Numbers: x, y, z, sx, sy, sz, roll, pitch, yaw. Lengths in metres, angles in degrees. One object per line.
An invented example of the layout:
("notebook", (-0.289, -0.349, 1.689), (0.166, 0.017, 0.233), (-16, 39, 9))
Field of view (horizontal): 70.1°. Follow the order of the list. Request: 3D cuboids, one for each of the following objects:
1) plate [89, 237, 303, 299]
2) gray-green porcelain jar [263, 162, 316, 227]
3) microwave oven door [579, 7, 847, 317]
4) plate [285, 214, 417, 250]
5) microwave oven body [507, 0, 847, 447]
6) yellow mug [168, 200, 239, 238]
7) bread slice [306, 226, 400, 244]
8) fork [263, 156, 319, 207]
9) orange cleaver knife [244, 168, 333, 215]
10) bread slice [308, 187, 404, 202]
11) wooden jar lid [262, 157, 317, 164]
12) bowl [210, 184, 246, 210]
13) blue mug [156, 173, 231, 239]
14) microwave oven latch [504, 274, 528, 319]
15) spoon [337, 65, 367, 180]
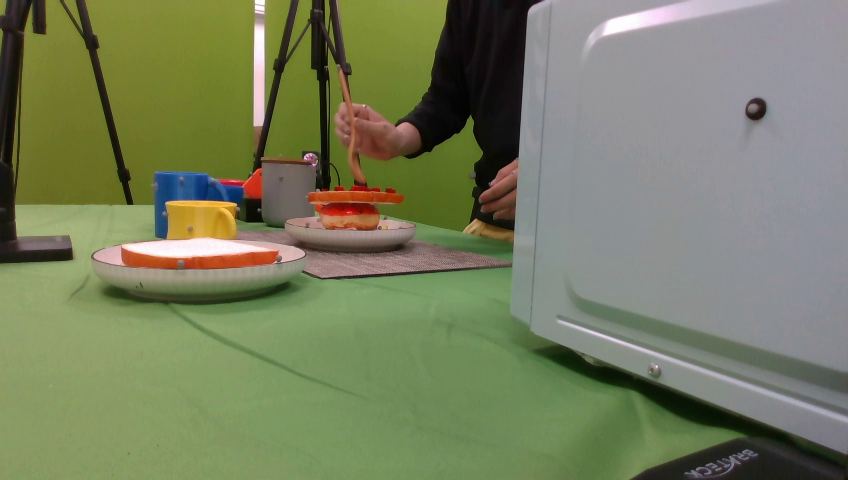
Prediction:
("plate", (-0.233, 0.029, 0.637), (0.208, 0.039, 0.207), (2, 7, 0))
("gray-green porcelain jar", (-0.271, -0.092, 1.217), (0.106, 0.126, 0.106), (2, 7, 0))
("microwave oven door", (0.295, -0.067, 0.570), (0.358, 0.243, 0.039), (-3, 9, -31))
("plate", (-0.116, -0.014, 0.964), (0.209, 0.038, 0.209), (2, 7, 0))
("microwave oven body", (0.331, -0.042, 0.425), (0.444, 0.260, 0.324), (-2, 8, -31))
("yellow mug", (-0.320, -0.023, 0.904), (0.130, 0.064, 0.100), (9, 11, 36))
("bread slice", (-0.103, -0.009, 0.961), (0.131, 0.019, 0.105), (1, 8, 24))
("fork", (-0.331, -0.144, 1.505), (0.207, 0.018, 0.028), (-42, -20, 22))
("orange cleaver knife", (-0.300, -0.089, 1.351), (0.212, 0.077, 0.012), (28, -9, -34))
("bread slice", (-0.114, -0.071, 0.952), (0.134, 0.018, 0.107), (-1, 1, 21))
("wooden jar lid", (-0.269, -0.154, 1.208), (0.108, 0.020, 0.108), (3, 4, 0))
("bowl", (-0.422, -0.067, 1.166), (0.151, 0.077, 0.151), (2, 7, 0))
("blue mug", (-0.381, -0.057, 1.004), (0.117, 0.106, 0.082), (0, 8, -12))
("microwave oven latch", (0.100, 0.041, 0.471), (0.079, 0.029, 0.030), (-1, 7, -28))
("spoon", (-0.115, -0.187, 0.960), (0.021, 0.193, 0.042), (-10, -7, 14))
